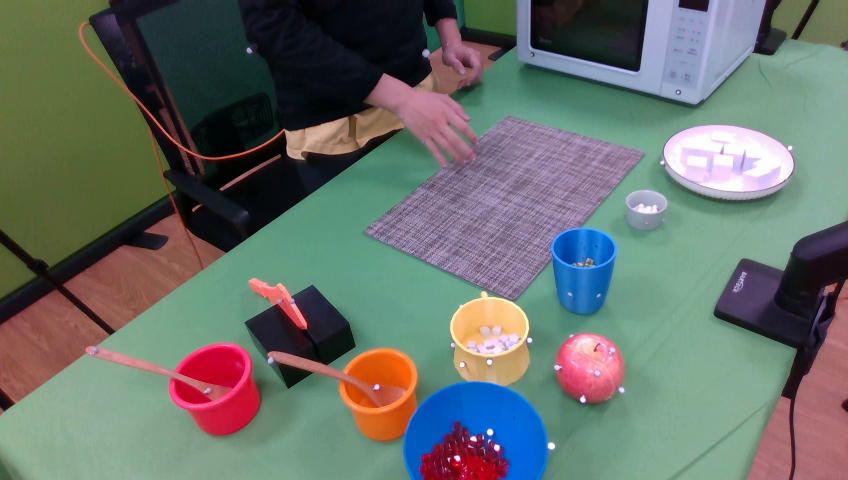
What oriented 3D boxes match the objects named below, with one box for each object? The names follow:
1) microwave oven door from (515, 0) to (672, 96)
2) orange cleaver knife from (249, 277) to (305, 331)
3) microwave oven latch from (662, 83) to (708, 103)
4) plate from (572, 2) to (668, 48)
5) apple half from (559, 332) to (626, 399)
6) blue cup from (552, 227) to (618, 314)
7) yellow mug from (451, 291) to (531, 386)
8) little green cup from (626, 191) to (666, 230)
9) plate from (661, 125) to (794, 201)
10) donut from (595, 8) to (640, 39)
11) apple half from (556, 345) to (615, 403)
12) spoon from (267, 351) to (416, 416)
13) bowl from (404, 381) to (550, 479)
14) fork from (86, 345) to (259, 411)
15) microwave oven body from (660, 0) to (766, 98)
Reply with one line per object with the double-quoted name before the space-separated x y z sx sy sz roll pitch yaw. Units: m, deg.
"microwave oven door" 0.343 -0.455 1.259 0.353 0.245 0.039 26 51 33
"orange cleaver knife" -0.210 0.088 0.855 0.012 0.077 0.210 -28 15 -25
"microwave oven latch" 0.517 -0.296 1.204 0.078 0.029 0.030 27 52 35
"plate" 0.440 -0.482 1.367 0.209 0.038 0.208 -4 41 4
"apple half" 0.209 0.147 0.730 0.080 0.075 0.053 26 48 38
"blue cup" 0.218 0.047 0.826 0.092 0.101 0.092 -6 40 5
"yellow mug" 0.086 0.120 0.786 0.100 0.064 0.130 -7 39 1
"little green cup" 0.352 -0.046 0.963 0.061 0.039 0.061 -4 40 4
"plate" 0.513 -0.128 1.035 0.207 0.039 0.206 -4 40 4
"donut" 0.436 -0.488 1.359 0.099 0.048 0.098 -11 34 9
"apple half" 0.181 0.167 0.709 0.080 0.081 0.033 29 50 35
"spoon" -0.091 0.162 0.699 0.021 0.195 0.041 -45 30 27
"bowl" 0.058 0.235 0.645 0.151 0.077 0.150 -4 39 4
"fork" -0.298 0.166 0.728 0.209 0.018 0.028 28 47 -23
"microwave oven body" 0.472 -0.513 1.317 0.438 0.261 0.327 26 51 34
